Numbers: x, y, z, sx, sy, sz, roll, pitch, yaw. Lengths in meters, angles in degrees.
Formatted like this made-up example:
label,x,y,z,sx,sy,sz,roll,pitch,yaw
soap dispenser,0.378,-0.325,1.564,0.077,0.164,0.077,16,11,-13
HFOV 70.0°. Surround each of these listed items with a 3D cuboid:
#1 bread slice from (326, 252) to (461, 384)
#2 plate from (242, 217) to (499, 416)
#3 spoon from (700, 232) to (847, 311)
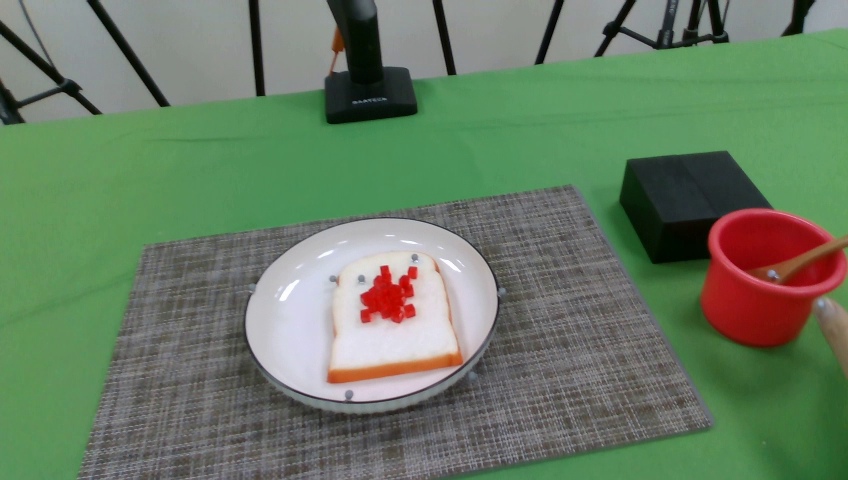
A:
label,x,y,z,sx,sy,sz,roll,pitch,yaw
bread slice,-0.031,0.059,0.510,0.105,0.019,0.130,-6,43,-4
plate,-0.043,0.060,0.507,0.209,0.038,0.207,-2,42,2
spoon,0.306,0.010,0.461,0.194,0.022,0.041,-35,23,36
